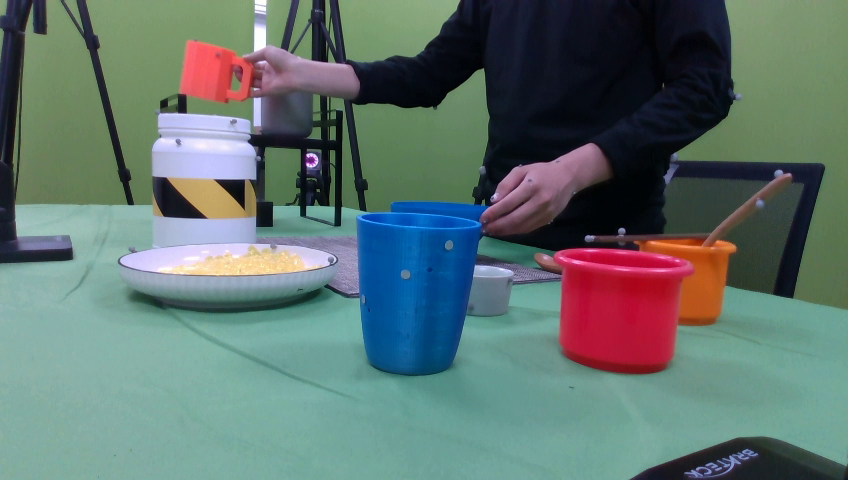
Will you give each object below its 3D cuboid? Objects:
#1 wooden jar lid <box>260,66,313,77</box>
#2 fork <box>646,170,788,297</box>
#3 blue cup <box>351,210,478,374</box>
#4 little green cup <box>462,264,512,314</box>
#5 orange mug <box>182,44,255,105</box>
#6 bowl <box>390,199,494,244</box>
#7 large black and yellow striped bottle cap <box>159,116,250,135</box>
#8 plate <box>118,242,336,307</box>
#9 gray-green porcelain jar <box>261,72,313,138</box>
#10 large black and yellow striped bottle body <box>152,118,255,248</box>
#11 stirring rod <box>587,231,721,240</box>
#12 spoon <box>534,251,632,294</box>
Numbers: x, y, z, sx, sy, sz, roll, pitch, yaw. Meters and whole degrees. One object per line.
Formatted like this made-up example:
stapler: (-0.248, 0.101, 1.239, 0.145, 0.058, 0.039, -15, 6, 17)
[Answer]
wooden jar lid: (-0.283, -0.339, 1.245, 0.108, 0.020, 0.108, 5, 8, 0)
fork: (0.256, 0.004, 0.543, 0.028, 0.018, 0.207, 3, -36, -9)
blue cup: (-0.009, 0.034, 0.414, 0.093, 0.100, 0.092, 4, 8, 0)
little green cup: (0.053, 0.047, 0.580, 0.061, 0.038, 0.061, 3, 8, 0)
orange mug: (-0.382, -0.306, 1.130, 0.126, 0.100, 0.083, 8, 10, 1)
bowl: (0.023, -0.015, 0.872, 0.151, 0.077, 0.151, 3, 7, 0)
large black and yellow striped bottle cap: (-0.292, -0.153, 0.810, 0.115, 0.019, 0.115, 3, 9, 0)
plate: (-0.194, 0.033, 0.615, 0.209, 0.038, 0.209, 2, 7, 0)
gray-green porcelain jar: (-0.284, -0.276, 1.253, 0.106, 0.126, 0.106, 3, 8, 0)
large black and yellow striped bottle body: (-0.296, -0.070, 0.819, 0.131, 0.184, 0.130, 2, 7, 0)
stirring rod: (0.227, -0.005, 0.586, 0.177, 0.006, 0.014, -2, 6, -29)
spoon: (0.193, 0.038, 0.753, 0.042, 0.021, 0.193, 16, 2, -21)
